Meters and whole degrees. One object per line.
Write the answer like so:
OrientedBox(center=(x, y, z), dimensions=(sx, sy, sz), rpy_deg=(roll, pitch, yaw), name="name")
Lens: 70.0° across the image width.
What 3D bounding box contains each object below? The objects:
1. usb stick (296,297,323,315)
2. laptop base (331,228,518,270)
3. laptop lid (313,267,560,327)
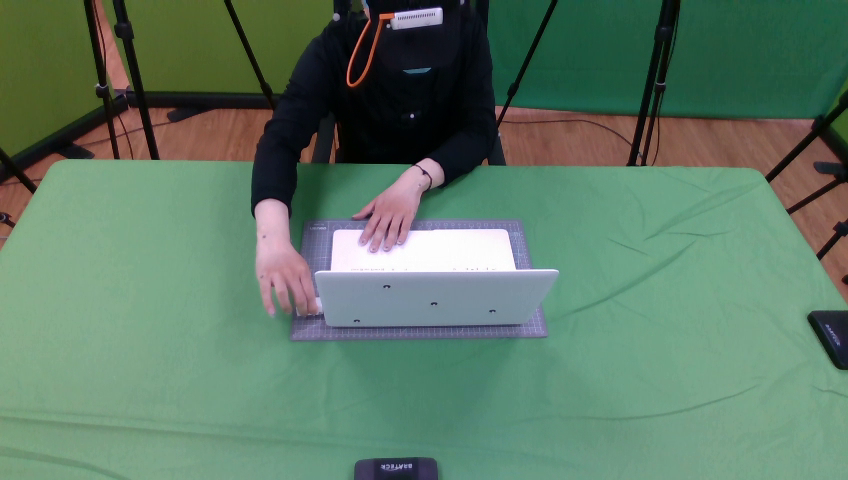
OrientedBox(center=(-0.193, 0.115, 1.056), dimensions=(0.059, 0.027, 0.021), rpy_deg=(0, 48, -8), name="usb stick")
OrientedBox(center=(0.003, 0.063, 1.136), dimensions=(0.355, 0.023, 0.234), rpy_deg=(0, 43, -4), name="laptop base")
OrientedBox(center=(0.015, 0.094, 0.949), dimensions=(0.357, 0.242, 0.013), rpy_deg=(0, 63, -5), name="laptop lid")
